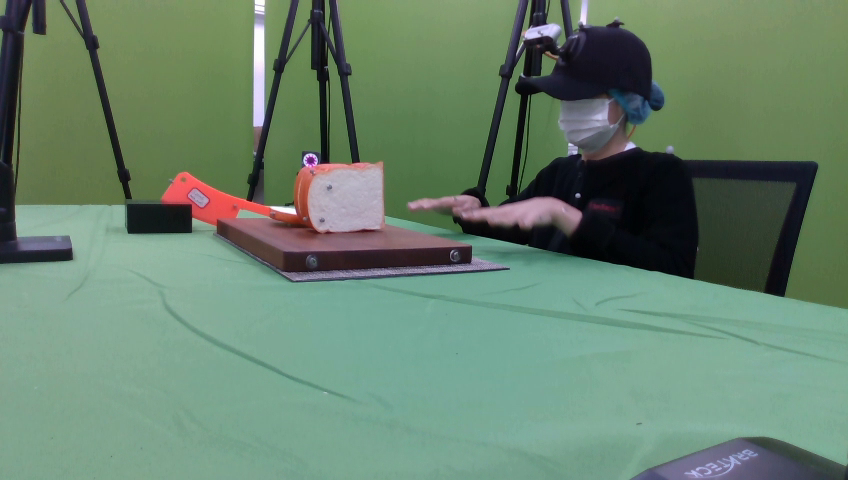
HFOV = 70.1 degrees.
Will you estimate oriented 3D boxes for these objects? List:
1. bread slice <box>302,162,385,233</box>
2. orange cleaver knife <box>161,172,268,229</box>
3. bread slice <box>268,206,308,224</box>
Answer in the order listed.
[{"bbox_3d":[-0.120,-0.059,0.918,0.135,0.107,0.018,-12,15,-34],"label":"bread slice"},{"bbox_3d":[-0.372,-0.061,1.121,0.212,0.077,0.012,20,-6,-30],"label":"orange cleaver knife"},{"bbox_3d":[-0.195,-0.040,1.015,0.132,0.019,0.104,2,8,-37],"label":"bread slice"}]
